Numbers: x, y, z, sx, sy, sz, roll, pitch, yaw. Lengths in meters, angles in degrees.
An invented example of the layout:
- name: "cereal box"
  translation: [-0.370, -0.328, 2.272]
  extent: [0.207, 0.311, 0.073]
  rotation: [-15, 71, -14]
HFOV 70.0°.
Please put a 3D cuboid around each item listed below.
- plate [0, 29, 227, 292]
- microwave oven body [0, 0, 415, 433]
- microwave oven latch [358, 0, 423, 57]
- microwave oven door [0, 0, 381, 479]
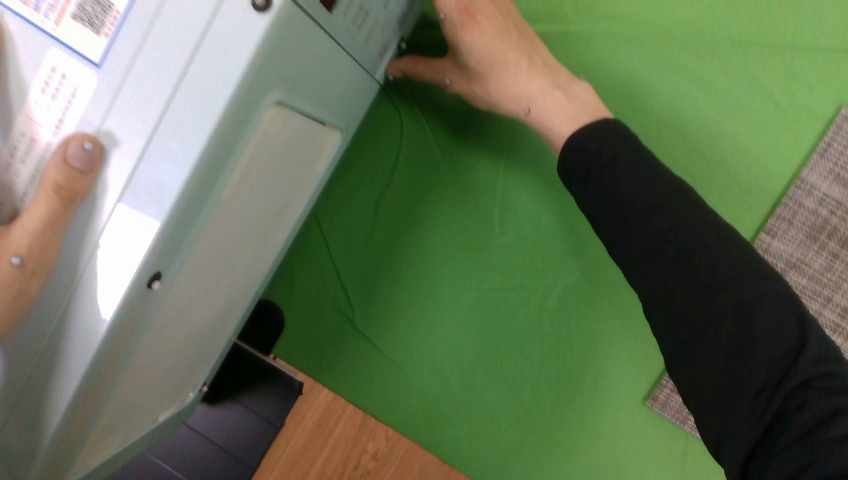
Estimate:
- name: "plate"
  translation: [-0.259, -0.062, 0.498]
  extent: [0.209, 0.038, 0.209]
  rotation: [0, 98, 4]
- name: "microwave oven body"
  translation: [-0.256, -0.103, 0.435]
  extent: [0.326, 0.260, 0.442]
  rotation: [32, 99, 2]
- name: "microwave oven latch"
  translation: [-0.031, -0.189, 0.499]
  extent: [0.079, 0.029, 0.030]
  rotation: [-42, 91, 9]
- name: "microwave oven door"
  translation: [-0.156, 0.011, 0.432]
  extent: [0.039, 0.243, 0.356]
  rotation: [32, 98, 3]
